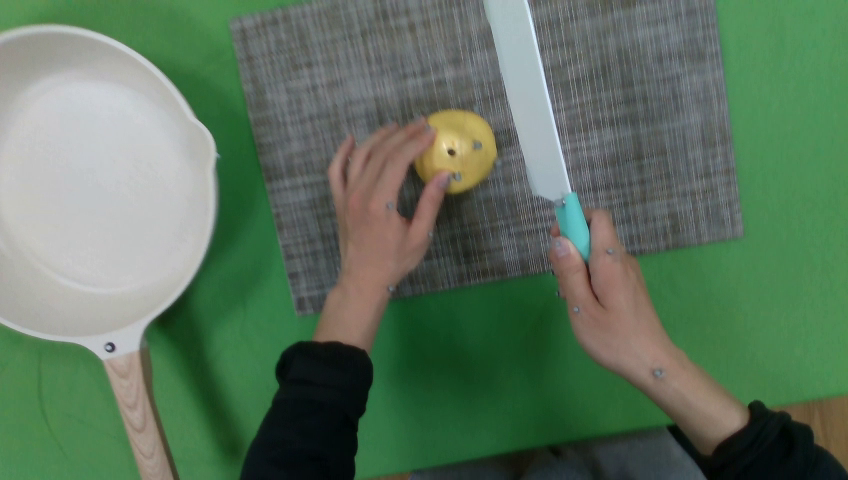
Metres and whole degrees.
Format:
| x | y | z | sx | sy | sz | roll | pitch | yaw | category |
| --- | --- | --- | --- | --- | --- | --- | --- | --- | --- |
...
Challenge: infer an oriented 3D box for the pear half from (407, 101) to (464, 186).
| x | y | z | sx | sy | sz | roll | pitch | yaw | category |
| --- | --- | --- | --- | --- | --- | --- | --- | --- | --- |
| 0.012 | -0.084 | 0.534 | 0.056 | 0.109 | 0.076 | -6 | 96 | 6 | pear half |

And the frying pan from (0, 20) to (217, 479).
| x | y | z | sx | sy | sz | roll | pitch | yaw | category |
| --- | --- | --- | --- | --- | --- | --- | --- | --- | --- |
| -0.305 | 0.047 | 0.582 | 0.307 | 0.103 | 0.487 | -16 | 90 | 7 | frying pan |

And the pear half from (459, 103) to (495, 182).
| x | y | z | sx | sy | sz | roll | pitch | yaw | category |
| --- | --- | --- | --- | --- | --- | --- | --- | --- | --- |
| 0.048 | -0.088 | 0.542 | 0.031 | 0.088 | 0.070 | -6 | 95 | 5 | pear half |

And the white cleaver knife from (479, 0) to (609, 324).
| x | y | z | sx | sy | sz | roll | pitch | yaw | category |
| --- | --- | --- | --- | --- | --- | --- | --- | --- | --- |
| 0.094 | -0.057 | 0.457 | 0.021 | 0.065 | 0.289 | -26 | 116 | -13 | white cleaver knife |
